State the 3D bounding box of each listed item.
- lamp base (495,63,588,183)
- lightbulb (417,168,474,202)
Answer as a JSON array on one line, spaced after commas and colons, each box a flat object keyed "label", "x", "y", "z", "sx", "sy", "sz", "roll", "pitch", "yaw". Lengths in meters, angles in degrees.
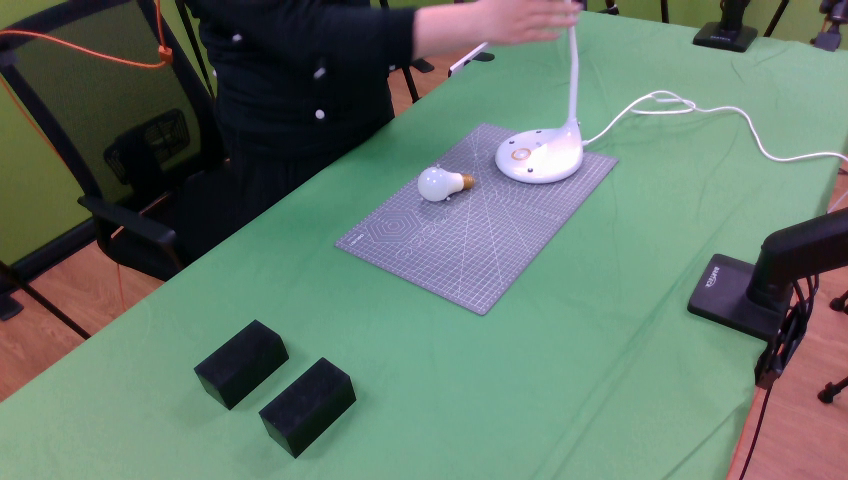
[{"label": "lamp base", "x": 0.215, "y": -0.217, "z": 1.067, "sx": 0.180, "sy": 0.181, "sz": 0.159, "roll": -19, "pitch": 42, "yaw": -18}, {"label": "lightbulb", "x": 0.040, "y": -0.098, "z": 1.055, "sx": 0.108, "sy": 0.059, "sz": 0.059, "roll": -7, "pitch": 37, "yaw": -25}]
